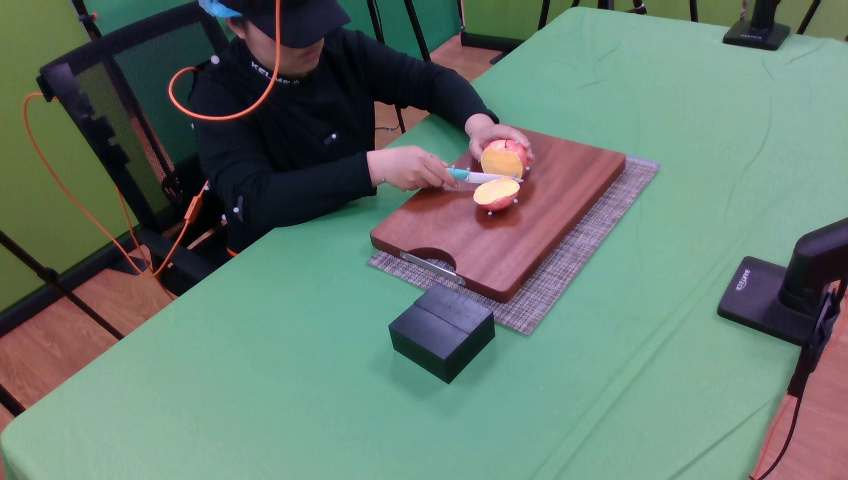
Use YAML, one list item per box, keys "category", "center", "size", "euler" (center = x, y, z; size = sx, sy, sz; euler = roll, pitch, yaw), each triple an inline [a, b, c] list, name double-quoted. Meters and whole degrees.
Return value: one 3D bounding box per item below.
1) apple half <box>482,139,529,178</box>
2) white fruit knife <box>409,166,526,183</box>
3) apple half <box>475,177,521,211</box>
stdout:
- category: "apple half"
  center: [0.145, -0.138, 1.039]
  size: [0.080, 0.075, 0.053]
  euler: [12, 41, 29]
- category: "white fruit knife"
  center: [0.072, -0.111, 1.039]
  size: [0.207, 0.027, 0.016]
  euler: [6, 43, 15]
- category: "apple half"
  center: [0.124, -0.071, 0.995]
  size: [0.081, 0.033, 0.081]
  euler: [-17, 29, 11]
